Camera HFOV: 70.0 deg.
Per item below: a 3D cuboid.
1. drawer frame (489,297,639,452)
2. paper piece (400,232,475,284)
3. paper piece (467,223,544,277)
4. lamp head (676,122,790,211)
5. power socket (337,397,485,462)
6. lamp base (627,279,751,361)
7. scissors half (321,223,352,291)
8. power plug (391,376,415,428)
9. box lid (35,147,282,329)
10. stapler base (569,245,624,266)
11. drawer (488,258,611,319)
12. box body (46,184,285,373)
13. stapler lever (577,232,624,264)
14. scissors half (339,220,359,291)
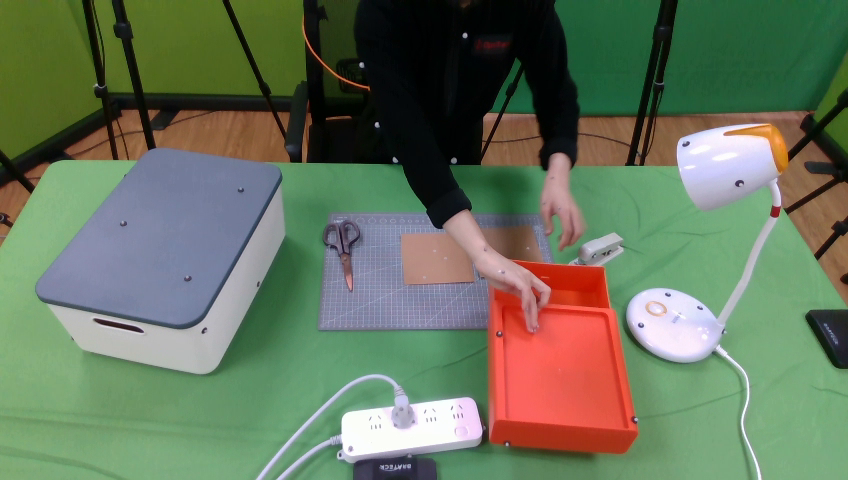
[{"bbox_3d":[0.201,0.199,0.919,0.202,0.083,0.212,5,47,0],"label":"drawer frame"},{"bbox_3d":[0.024,0.031,1.175,0.135,0.004,0.135,-1,46,-6],"label":"paper piece"},{"bbox_3d":[0.163,0.019,1.199,0.136,0.009,0.137,-2,46,-9],"label":"paper piece"},{"bbox_3d":[0.423,-0.104,0.819,0.122,0.113,0.112,-13,33,40],"label":"lamp head"},{"bbox_3d":[-0.018,0.285,0.915,0.227,0.033,0.071,-5,46,-8],"label":"power socket"},{"bbox_3d":[0.460,0.100,1.027,0.178,0.181,0.160,27,51,17],"label":"lamp base"},{"bbox_3d":[-0.163,0.031,1.160,0.040,0.013,0.174,-17,51,-14],"label":"scissors half"},{"bbox_3d":[-0.030,0.249,0.917,0.035,0.053,0.072,3,46,0],"label":"power plug"},{"bbox_3d":[-0.411,-0.023,0.987,0.263,0.015,0.369,10,47,5],"label":"box lid"},{"bbox_3d":[0.342,0.029,1.195,0.130,0.024,0.041,-26,57,-28],"label":"stapler base"},{"bbox_3d":[0.205,0.133,0.985,0.194,0.073,0.210,5,47,0],"label":"drawer"},{"bbox_3d":[-0.414,0.029,1.039,0.254,0.161,0.362,10,46,5],"label":"box body"},{"bbox_3d":[0.345,0.010,1.178,0.118,0.040,0.026,-26,57,-28],"label":"stapler lever"},{"bbox_3d":[-0.144,0.026,1.162,0.040,0.013,0.174,-7,50,2],"label":"scissors half"}]
